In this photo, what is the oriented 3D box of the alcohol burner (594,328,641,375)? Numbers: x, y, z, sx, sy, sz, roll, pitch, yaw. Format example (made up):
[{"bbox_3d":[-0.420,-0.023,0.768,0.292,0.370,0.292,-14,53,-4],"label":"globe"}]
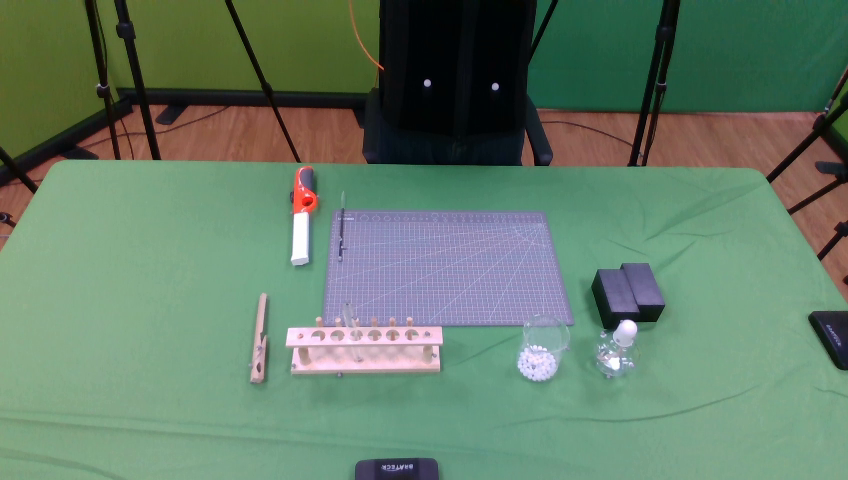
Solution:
[{"bbox_3d":[0.322,0.170,0.994,0.078,0.119,0.077,3,48,-3],"label":"alcohol burner"}]

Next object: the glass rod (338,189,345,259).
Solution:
[{"bbox_3d":[-0.166,-0.037,1.227,0.008,0.008,0.198,-1,47,-4],"label":"glass rod"}]

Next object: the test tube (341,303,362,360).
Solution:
[{"bbox_3d":[-0.111,0.145,0.938,0.017,0.151,0.017,-1,50,2],"label":"test tube"}]

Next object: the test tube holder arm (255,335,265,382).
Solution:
[{"bbox_3d":[-0.269,0.193,0.997,0.010,0.015,0.087,23,36,-32],"label":"test tube holder arm"}]

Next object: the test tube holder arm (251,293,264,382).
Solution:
[{"bbox_3d":[-0.281,0.160,1.025,0.013,0.015,0.177,23,36,-32],"label":"test tube holder arm"}]

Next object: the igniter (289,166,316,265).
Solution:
[{"bbox_3d":[-0.248,-0.058,1.233,0.057,0.025,0.274,-9,47,1],"label":"igniter"}]

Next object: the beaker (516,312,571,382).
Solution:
[{"bbox_3d":[0.189,0.180,0.985,0.073,0.101,0.084,30,52,24],"label":"beaker"}]

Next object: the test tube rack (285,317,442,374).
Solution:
[{"bbox_3d":[-0.095,0.166,0.988,0.242,0.085,0.066,0,46,-4],"label":"test tube rack"}]

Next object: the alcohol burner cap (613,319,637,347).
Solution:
[{"bbox_3d":[0.323,0.146,0.966,0.034,0.048,0.033,-1,52,2],"label":"alcohol burner cap"}]
